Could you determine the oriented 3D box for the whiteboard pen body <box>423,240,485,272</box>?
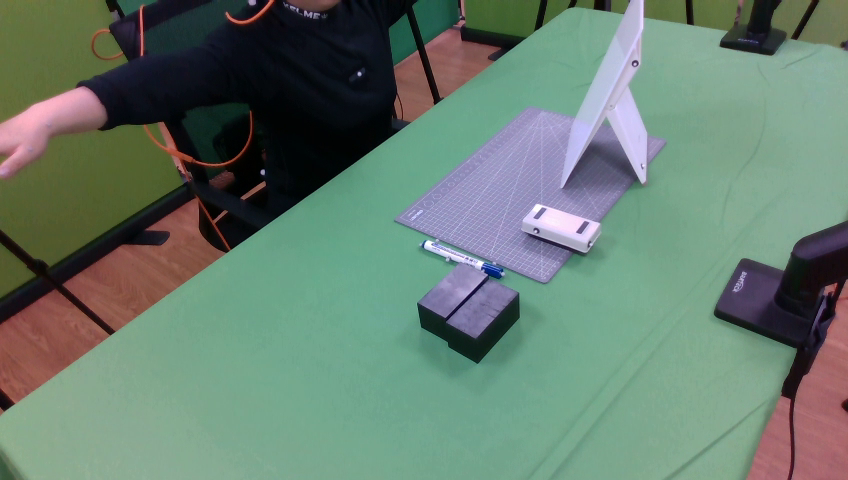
[{"bbox_3d":[0.057,0.027,0.942,0.139,0.017,0.017,22,48,30],"label":"whiteboard pen body"}]

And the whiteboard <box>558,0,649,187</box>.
[{"bbox_3d":[0.361,-0.238,1.026,0.144,0.306,0.217,20,44,3],"label":"whiteboard"}]

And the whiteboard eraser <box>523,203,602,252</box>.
[{"bbox_3d":[0.216,-0.018,0.945,0.112,0.042,0.056,20,46,29],"label":"whiteboard eraser"}]

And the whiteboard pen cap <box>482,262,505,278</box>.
[{"bbox_3d":[0.104,0.044,0.912,0.033,0.018,0.018,22,48,29],"label":"whiteboard pen cap"}]
